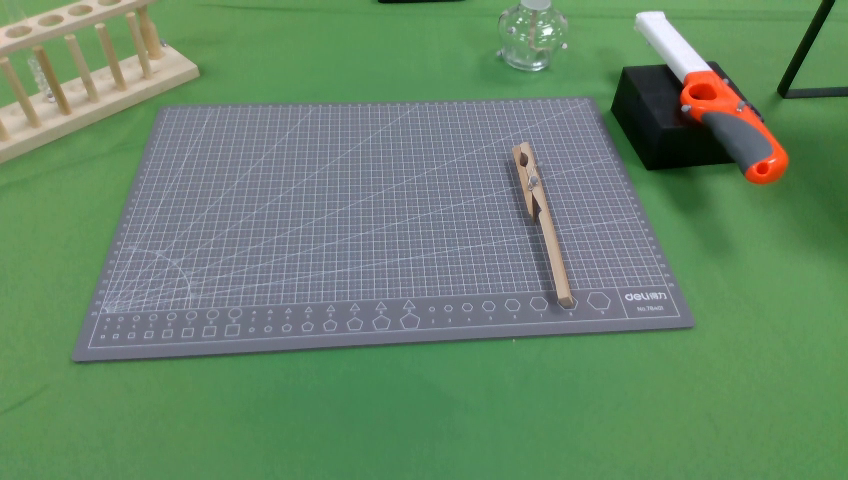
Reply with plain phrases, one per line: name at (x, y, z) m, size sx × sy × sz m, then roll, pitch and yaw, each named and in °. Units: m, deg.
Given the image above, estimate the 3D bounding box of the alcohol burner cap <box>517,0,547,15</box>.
alcohol burner cap at (0.117, -0.267, 0.639) m, size 0.034 × 0.048 × 0.033 m, roll 1°, pitch 48°, yaw 0°

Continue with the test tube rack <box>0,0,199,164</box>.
test tube rack at (-0.350, -0.159, 0.581) m, size 0.066 × 0.086 × 0.242 m, roll 37°, pitch 56°, yaw 27°

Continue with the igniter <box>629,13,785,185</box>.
igniter at (0.257, -0.144, 0.570) m, size 0.057 × 0.025 × 0.273 m, roll -6°, pitch 46°, yaw -4°

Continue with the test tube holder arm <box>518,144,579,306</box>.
test tube holder arm at (0.102, -0.019, 0.514) m, size 0.013 × 0.015 × 0.176 m, roll -29°, pitch 45°, yaw 20°

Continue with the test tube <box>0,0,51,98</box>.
test tube at (-0.369, -0.196, 0.547) m, size 0.017 × 0.151 × 0.017 m, roll 3°, pitch 45°, yaw -2°

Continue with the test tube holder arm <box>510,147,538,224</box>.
test tube holder arm at (0.092, -0.050, 0.546) m, size 0.010 × 0.015 × 0.087 m, roll -28°, pitch 46°, yaw 21°

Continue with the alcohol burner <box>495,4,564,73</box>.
alcohol burner at (0.118, -0.246, 0.662) m, size 0.078 × 0.120 × 0.077 m, roll 1°, pitch 50°, yaw -1°
